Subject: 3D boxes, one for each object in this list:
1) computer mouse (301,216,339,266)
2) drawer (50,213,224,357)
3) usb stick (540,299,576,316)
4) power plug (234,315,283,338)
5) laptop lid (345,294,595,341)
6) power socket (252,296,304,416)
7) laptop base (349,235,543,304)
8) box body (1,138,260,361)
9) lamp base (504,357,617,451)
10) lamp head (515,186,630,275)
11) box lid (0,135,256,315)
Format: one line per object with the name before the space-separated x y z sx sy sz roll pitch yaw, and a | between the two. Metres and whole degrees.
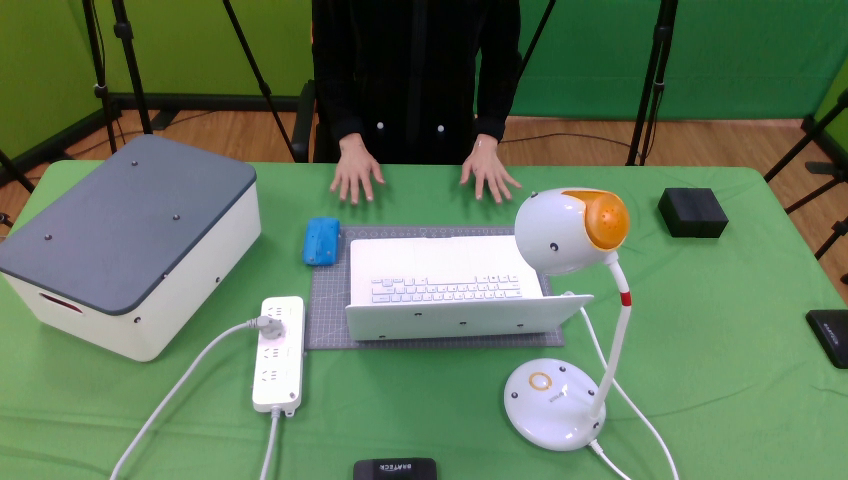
computer mouse | -0.200 -0.002 1.169 0.063 0.041 0.116 3 50 -3
drawer | -0.492 0.075 1.057 0.194 0.073 0.211 18 57 10
usb stick | 0.239 0.121 1.083 0.059 0.027 0.021 -1 51 -2
power plug | -0.269 0.143 1.000 0.072 0.053 0.035 4 47 2
laptop lid | 0.059 0.124 0.934 0.357 0.242 0.013 -1 69 -7
power socket | -0.238 0.182 0.997 0.072 0.033 0.225 -3 47 -5
laptop base | 0.039 0.081 1.124 0.355 0.023 0.234 -2 43 -6
box body | -0.482 0.006 1.056 0.254 0.161 0.362 17 47 12
lamp base | 0.220 0.211 0.902 0.160 0.181 0.178 -33 59 -30
lamp head | 0.188 -0.013 0.728 0.112 0.112 0.122 -25 9 -25
box lid | -0.480 -0.044 1.002 0.263 0.015 0.370 18 47 12
